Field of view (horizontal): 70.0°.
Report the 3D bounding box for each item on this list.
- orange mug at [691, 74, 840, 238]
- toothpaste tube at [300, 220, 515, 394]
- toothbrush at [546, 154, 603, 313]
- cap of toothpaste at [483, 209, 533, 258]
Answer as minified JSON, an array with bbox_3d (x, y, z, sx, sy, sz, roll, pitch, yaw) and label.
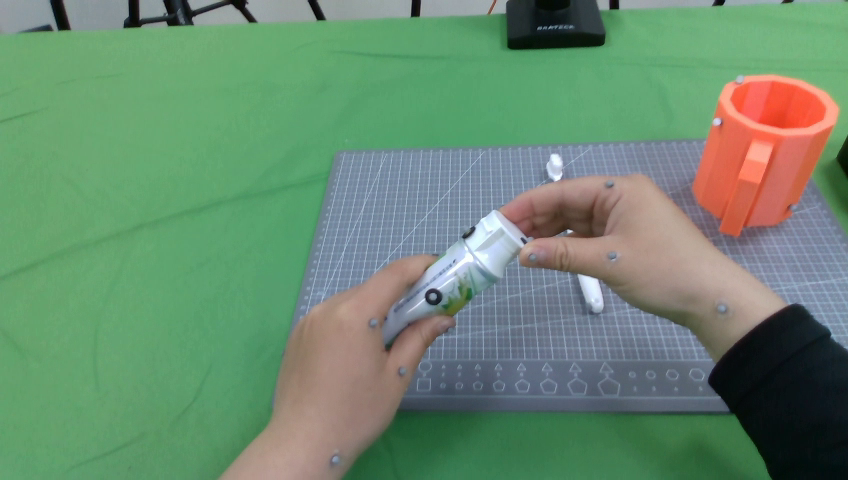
[{"bbox_3d":[0.271,-0.064,0.496,0.083,0.102,0.126,21,47,24],"label":"orange mug"},{"bbox_3d":[-0.007,0.048,0.381,0.165,0.055,0.034,-43,50,16],"label":"toothpaste tube"},{"bbox_3d":[0.128,-0.013,0.518,0.014,0.017,0.180,3,46,-7],"label":"toothbrush"},{"bbox_3d":[0.050,-0.002,0.360,0.011,0.038,0.037,-45,45,17],"label":"cap of toothpaste"}]
